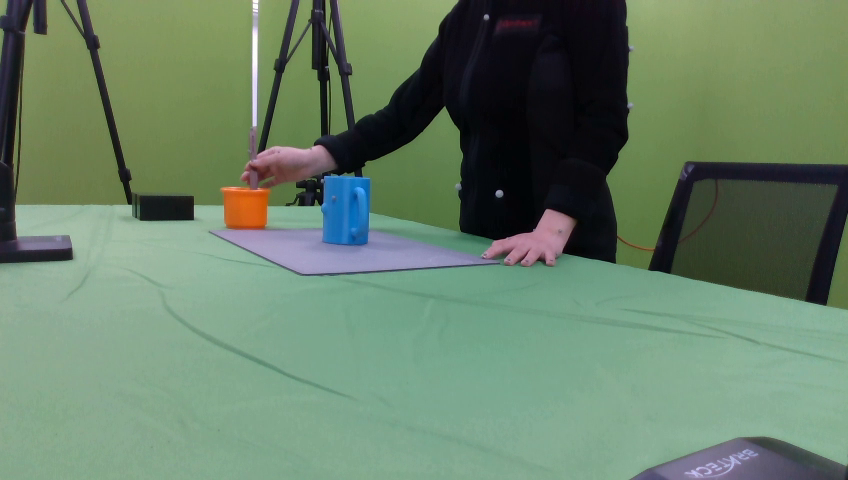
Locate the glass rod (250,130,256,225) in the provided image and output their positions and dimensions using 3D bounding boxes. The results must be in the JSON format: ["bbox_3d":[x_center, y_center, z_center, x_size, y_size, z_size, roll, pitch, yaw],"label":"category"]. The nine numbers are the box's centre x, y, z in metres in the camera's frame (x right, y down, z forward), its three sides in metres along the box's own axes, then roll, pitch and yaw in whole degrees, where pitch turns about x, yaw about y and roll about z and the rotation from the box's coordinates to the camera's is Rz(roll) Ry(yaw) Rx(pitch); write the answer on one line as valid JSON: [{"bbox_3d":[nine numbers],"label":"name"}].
[{"bbox_3d":[-0.329,-0.122,1.162,0.008,0.199,0.008,-6,-18,-2],"label":"glass rod"}]

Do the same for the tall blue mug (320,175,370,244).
[{"bbox_3d":[-0.116,-0.049,0.991,0.106,0.108,0.078,7,8,33],"label":"tall blue mug"}]
